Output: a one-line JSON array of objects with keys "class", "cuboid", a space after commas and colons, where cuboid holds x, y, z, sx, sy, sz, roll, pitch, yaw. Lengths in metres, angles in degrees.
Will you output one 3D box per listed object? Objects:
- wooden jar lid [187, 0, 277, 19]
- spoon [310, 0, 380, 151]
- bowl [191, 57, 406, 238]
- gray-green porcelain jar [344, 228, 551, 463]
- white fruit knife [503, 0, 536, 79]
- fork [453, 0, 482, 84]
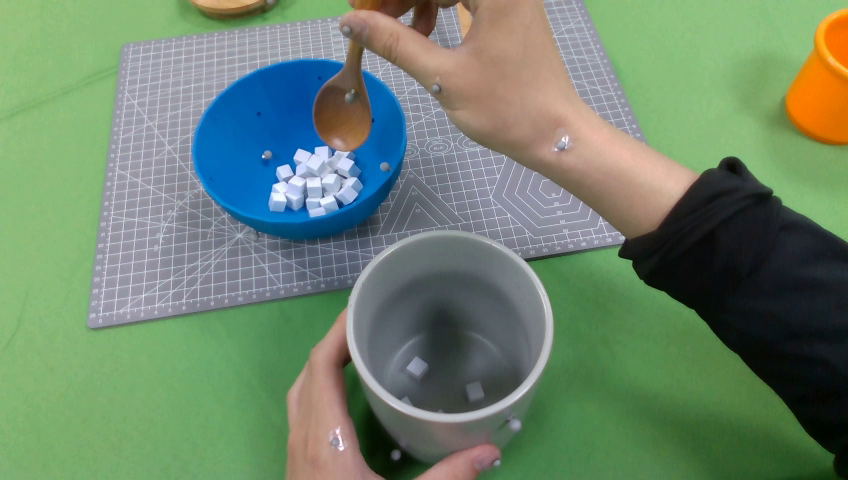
[{"class": "wooden jar lid", "cuboid": [-0.192, -0.264, 0.618, 0.108, 0.021, 0.107, 0, 60, 0]}, {"class": "spoon", "cuboid": [-0.035, -0.107, 0.328, 0.041, 0.194, 0.021, 33, 63, -1]}, {"class": "bowl", "cuboid": [-0.086, -0.056, 0.456, 0.151, 0.077, 0.150, -1, 60, 1]}, {"class": "gray-green porcelain jar", "cuboid": [0.014, 0.070, 0.357, 0.106, 0.127, 0.105, -1, 59, 2]}, {"class": "white fruit knife", "cuboid": [0.075, -0.247, 0.565, 0.016, 0.027, 0.206, -9, 73, -6]}, {"class": "fork", "cuboid": [0.026, -0.241, 0.561, 0.028, 0.019, 0.206, -11, 78, -10]}]
